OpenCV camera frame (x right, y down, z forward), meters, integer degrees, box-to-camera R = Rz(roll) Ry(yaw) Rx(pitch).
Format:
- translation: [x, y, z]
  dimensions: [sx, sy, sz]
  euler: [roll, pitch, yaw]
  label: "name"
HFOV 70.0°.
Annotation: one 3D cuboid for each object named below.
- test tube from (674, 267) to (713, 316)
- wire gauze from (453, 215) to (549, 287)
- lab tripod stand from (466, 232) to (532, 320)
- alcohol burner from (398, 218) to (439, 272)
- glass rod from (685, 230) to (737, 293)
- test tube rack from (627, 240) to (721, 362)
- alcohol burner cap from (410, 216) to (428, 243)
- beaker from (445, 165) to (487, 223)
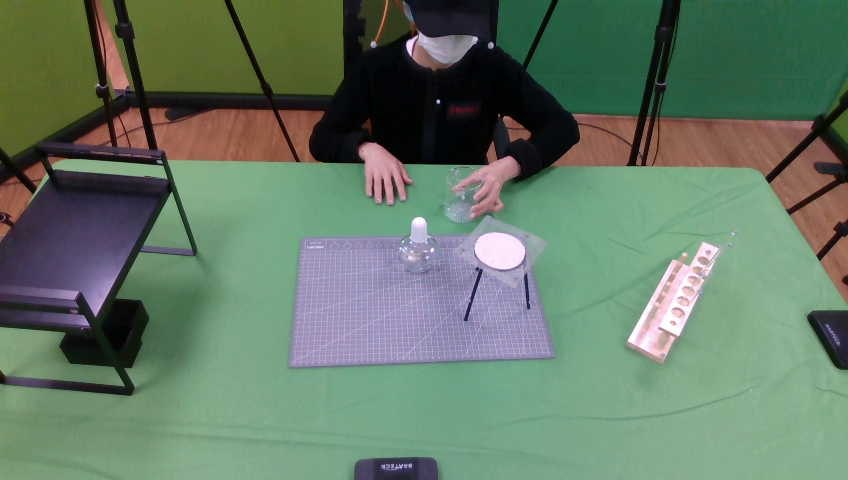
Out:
- translation: [0.445, 0.098, 1.017]
  dimensions: [0.017, 0.151, 0.017]
  euler: [4, 48, -4]
  label: "test tube"
- translation: [0.129, 0.012, 1.017]
  dimensions: [0.124, 0.011, 0.121]
  euler: [28, 50, 23]
  label: "wire gauze"
- translation: [0.125, 0.059, 1.065]
  dimensions: [0.148, 0.132, 0.147]
  euler: [1, 45, 0]
  label: "lab tripod stand"
- translation: [-0.010, 0.004, 1.123]
  dimensions: [0.078, 0.120, 0.077]
  euler: [1, 47, 0]
  label: "alcohol burner"
- translation: [0.495, 0.042, 1.051]
  dimensions: [0.008, 0.200, 0.008]
  euler: [2, 55, -2]
  label: "glass rod"
- translation: [0.452, 0.098, 1.087]
  dimensions: [0.066, 0.085, 0.242]
  euler: [28, 51, 22]
  label: "test tube rack"
- translation: [-0.009, -0.022, 1.099]
  dimensions: [0.034, 0.048, 0.033]
  euler: [2, 41, -1]
  label: "alcohol burner cap"
- translation: [0.082, -0.092, 1.236]
  dimensions: [0.084, 0.101, 0.073]
  euler: [-8, 48, -12]
  label: "beaker"
